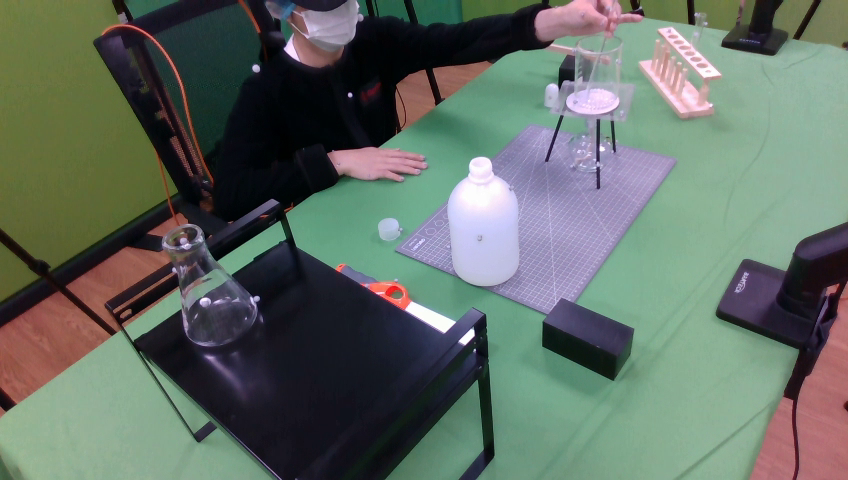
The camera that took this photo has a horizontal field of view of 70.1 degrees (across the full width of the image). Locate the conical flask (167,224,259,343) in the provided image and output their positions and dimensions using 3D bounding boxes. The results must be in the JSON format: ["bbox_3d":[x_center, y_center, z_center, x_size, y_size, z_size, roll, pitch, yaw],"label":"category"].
[{"bbox_3d":[-0.220,0.041,0.613,0.075,0.122,0.075,-5,40,4],"label":"conical flask"}]

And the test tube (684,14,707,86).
[{"bbox_3d":[0.541,-0.379,1.216,0.017,0.151,0.017,-2,44,3],"label":"test tube"}]

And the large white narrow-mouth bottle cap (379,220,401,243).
[{"bbox_3d":[-0.057,-0.015,1.011,0.038,0.024,0.037,-4,40,4],"label":"large white narrow-mouth bottle cap"}]

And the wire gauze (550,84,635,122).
[{"bbox_3d":[0.285,-0.234,1.021,0.124,0.011,0.121,8,41,24],"label":"wire gauze"}]

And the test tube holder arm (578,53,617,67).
[{"bbox_3d":[0.376,-0.393,1.314,0.087,0.015,0.010,26,50,32],"label":"test tube holder arm"}]

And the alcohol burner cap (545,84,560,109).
[{"bbox_3d":[0.274,-0.307,1.285,0.034,0.048,0.033,-5,42,5],"label":"alcohol burner cap"}]

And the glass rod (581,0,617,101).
[{"bbox_3d":[0.277,-0.308,0.946,0.008,0.200,0.008,5,41,-4],"label":"glass rod"}]

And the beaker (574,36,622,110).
[{"bbox_3d":[0.285,-0.273,0.990,0.073,0.101,0.084,15,46,27],"label":"beaker"}]

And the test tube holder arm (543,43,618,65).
[{"bbox_3d":[0.345,-0.413,1.341,0.177,0.015,0.013,25,50,32],"label":"test tube holder arm"}]

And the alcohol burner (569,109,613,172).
[{"bbox_3d":[0.297,-0.181,1.073,0.078,0.119,0.077,-5,43,5],"label":"alcohol burner"}]

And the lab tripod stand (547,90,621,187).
[{"bbox_3d":[0.289,-0.184,1.062,0.148,0.132,0.147,-6,41,6],"label":"lab tripod stand"}]

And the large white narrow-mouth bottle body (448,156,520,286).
[{"bbox_3d":[0.086,-0.032,0.869,0.102,0.195,0.101,-4,40,4],"label":"large white narrow-mouth bottle body"}]

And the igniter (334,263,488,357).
[{"bbox_3d":[-0.030,0.095,0.872,0.274,0.025,0.057,23,60,31],"label":"igniter"}]

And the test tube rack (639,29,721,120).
[{"bbox_3d":[0.527,-0.351,1.262,0.067,0.085,0.241,-8,40,1],"label":"test tube rack"}]
